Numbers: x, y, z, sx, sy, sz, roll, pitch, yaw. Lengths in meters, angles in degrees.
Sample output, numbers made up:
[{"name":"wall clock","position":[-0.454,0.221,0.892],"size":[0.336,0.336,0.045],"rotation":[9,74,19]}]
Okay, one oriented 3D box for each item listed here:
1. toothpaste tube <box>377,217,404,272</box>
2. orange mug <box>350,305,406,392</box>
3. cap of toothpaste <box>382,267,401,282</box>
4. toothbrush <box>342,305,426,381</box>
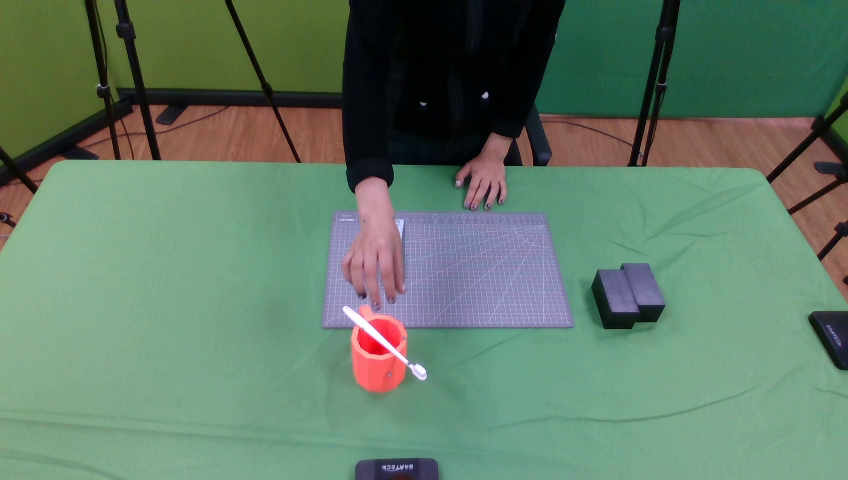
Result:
[{"name":"toothpaste tube","position":[-0.063,0.008,1.179],"size":[0.055,0.034,0.164],"rotation":[5,42,-9]},{"name":"orange mug","position":[-0.080,0.168,0.978],"size":[0.083,0.101,0.125],"rotation":[-16,54,-18]},{"name":"cap of toothpaste","position":[-0.060,0.063,1.119],"size":[0.037,0.037,0.011],"rotation":[-9,50,-12]},{"name":"toothbrush","position":[-0.064,0.153,0.922],"size":[0.181,0.017,0.014],"rotation":[36,56,27]}]
